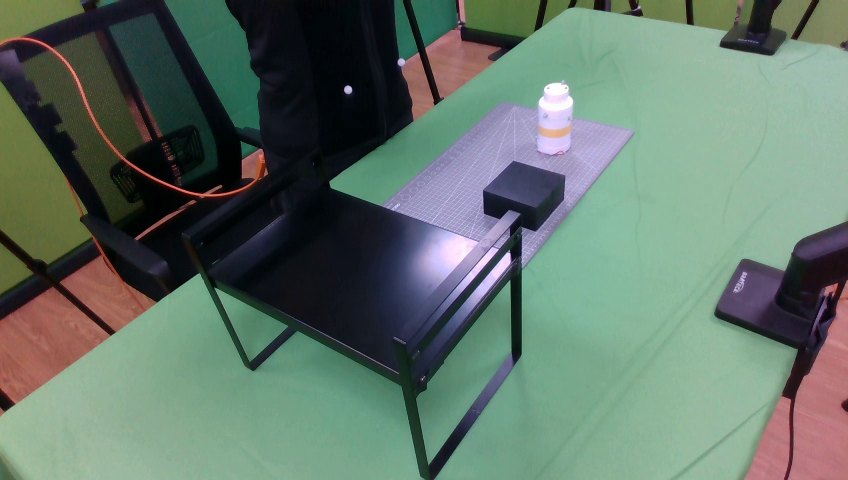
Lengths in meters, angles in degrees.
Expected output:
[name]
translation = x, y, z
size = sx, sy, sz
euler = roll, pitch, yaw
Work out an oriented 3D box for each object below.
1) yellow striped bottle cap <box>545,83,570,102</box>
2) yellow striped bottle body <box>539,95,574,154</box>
[yellow striped bottle cap]
translation = 0.240, -0.266, 1.088
size = 0.044, 0.019, 0.044
euler = -4, 37, 4
[yellow striped bottle body]
translation = 0.245, -0.227, 1.123
size = 0.063, 0.121, 0.062
euler = -5, 41, 5
